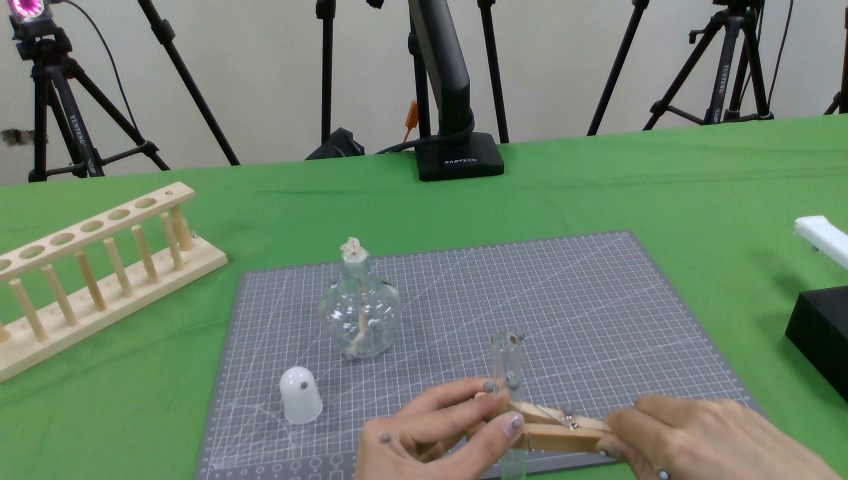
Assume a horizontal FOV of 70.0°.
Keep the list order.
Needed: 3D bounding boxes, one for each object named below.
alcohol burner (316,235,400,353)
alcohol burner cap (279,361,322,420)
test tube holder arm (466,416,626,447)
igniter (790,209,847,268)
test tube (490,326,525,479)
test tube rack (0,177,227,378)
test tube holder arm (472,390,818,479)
[{"bbox_3d":[-0.060,0.044,0.545,0.078,0.120,0.077,-1,36,1],"label":"alcohol burner"},{"bbox_3d":[-0.104,0.121,0.501,0.034,0.048,0.033,-1,35,1],"label":"alcohol burner cap"},{"bbox_3d":[0.068,0.108,0.341,0.087,0.015,0.010,-5,37,10],"label":"test tube holder arm"},{"bbox_3d":[0.404,0.047,0.501,0.057,0.025,0.273,-7,32,-4],"label":"igniter"},{"bbox_3d":[0.050,0.114,0.356,0.017,0.151,0.017,-5,30,3],"label":"test tube"},{"bbox_3d":[-0.334,0.028,0.619,0.066,0.086,0.242,27,45,35],"label":"test tube rack"},{"bbox_3d":[0.111,0.106,0.331,0.177,0.015,0.013,5,41,22],"label":"test tube holder arm"}]
